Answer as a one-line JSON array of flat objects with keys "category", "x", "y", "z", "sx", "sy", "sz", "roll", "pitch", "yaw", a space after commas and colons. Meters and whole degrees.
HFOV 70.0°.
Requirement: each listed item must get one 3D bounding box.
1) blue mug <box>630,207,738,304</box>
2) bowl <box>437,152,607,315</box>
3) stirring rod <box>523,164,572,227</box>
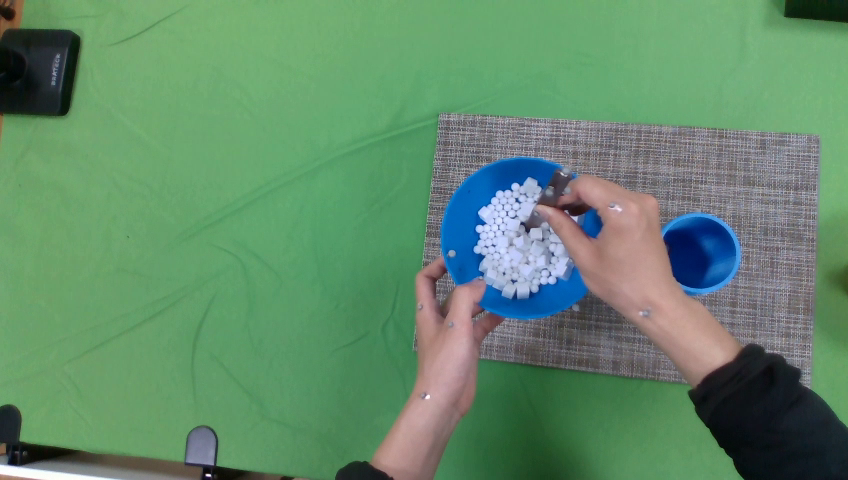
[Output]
[{"category": "blue mug", "x": 0.267, "y": 0.026, "z": 0.658, "sx": 0.082, "sy": 0.106, "sz": 0.116, "roll": 44, "pitch": 90, "yaw": 11}, {"category": "bowl", "x": 0.090, "y": -0.001, "z": 0.578, "sx": 0.151, "sy": 0.077, "sz": 0.151, "roll": -1, "pitch": 80, "yaw": 3}, {"category": "stirring rod", "x": 0.101, "y": -0.033, "z": 0.512, "sx": 0.014, "sy": 0.177, "sz": 0.006, "roll": 19, "pitch": 80, "yaw": 6}]
